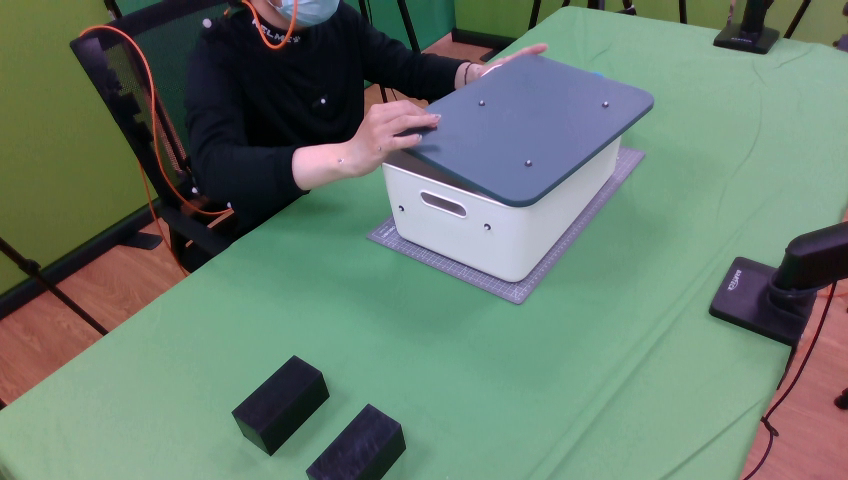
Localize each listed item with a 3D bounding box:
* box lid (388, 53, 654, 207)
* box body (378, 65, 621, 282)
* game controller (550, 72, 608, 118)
[{"bbox_3d":[0.156,-0.186,0.921,0.261,0.015,0.373,32,52,30],"label":"box lid"},{"bbox_3d":[0.137,-0.121,0.978,0.252,0.161,0.365,22,49,30],"label":"box body"},{"bbox_3d":[0.326,-0.306,1.260,0.096,0.052,0.155,13,45,17],"label":"game controller"}]
